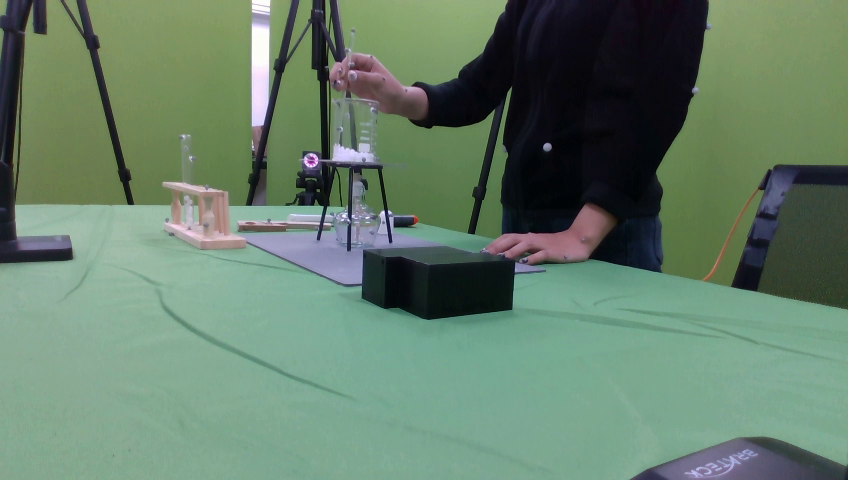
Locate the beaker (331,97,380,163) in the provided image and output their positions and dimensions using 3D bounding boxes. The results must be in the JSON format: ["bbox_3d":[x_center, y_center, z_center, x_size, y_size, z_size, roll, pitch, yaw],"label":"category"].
[{"bbox_3d":[-0.111,-0.171,0.950,0.073,0.100,0.084,12,12,42],"label":"beaker"}]

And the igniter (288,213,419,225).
[{"bbox_3d":[-0.145,-0.044,1.278,0.278,0.025,0.057,0,-2,-21],"label":"igniter"}]

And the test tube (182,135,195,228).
[{"bbox_3d":[-0.382,-0.095,0.983,0.017,0.150,0.017,-1,2,0],"label":"test tube"}]

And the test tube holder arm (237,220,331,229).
[{"bbox_3d":[-0.260,-0.028,1.140,0.179,0.015,0.013,-1,40,-32],"label":"test tube holder arm"}]

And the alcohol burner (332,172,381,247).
[{"bbox_3d":[-0.107,-0.048,0.961,0.078,0.119,0.078,1,9,0],"label":"alcohol burner"}]

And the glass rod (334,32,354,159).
[{"bbox_3d":[-0.126,-0.226,0.947,0.008,0.199,0.008,8,2,0],"label":"glass rod"}]

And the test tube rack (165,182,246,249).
[{"bbox_3d":[-0.360,-0.044,0.982,0.067,0.085,0.241,-3,9,-34],"label":"test tube rack"}]

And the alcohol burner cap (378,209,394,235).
[{"bbox_3d":[-0.072,-0.035,1.145,0.034,0.048,0.034,2,7,0],"label":"alcohol burner cap"}]

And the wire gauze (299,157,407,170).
[{"bbox_3d":[-0.112,-0.124,0.959,0.121,0.011,0.126,13,11,40],"label":"wire gauze"}]

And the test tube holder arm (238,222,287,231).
[{"bbox_3d":[-0.296,-0.024,1.112,0.088,0.015,0.010,-1,40,-32],"label":"test tube holder arm"}]

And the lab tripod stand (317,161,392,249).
[{"bbox_3d":[-0.111,-0.059,0.964,0.148,0.131,0.148,4,8,0],"label":"lab tripod stand"}]
